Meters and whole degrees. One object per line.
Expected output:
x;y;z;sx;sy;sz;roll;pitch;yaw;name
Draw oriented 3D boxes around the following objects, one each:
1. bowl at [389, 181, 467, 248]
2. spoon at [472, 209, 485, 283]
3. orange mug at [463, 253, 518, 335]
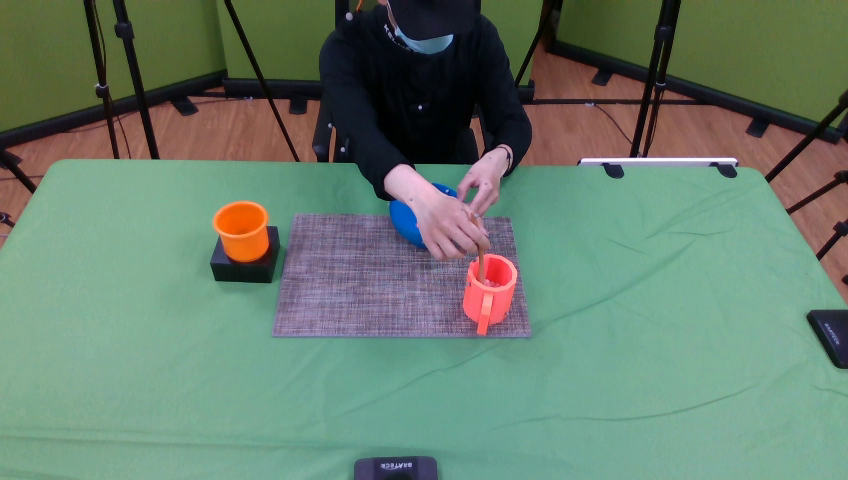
0.006;-0.038;1.188;0.151;0.077;0.150;2;46;-2;bowl
0.094;0.031;1.009;0.021;0.194;0.041;-9;33;-6;spoon
0.112;0.098;1.049;0.083;0.101;0.125;10;41;5;orange mug
